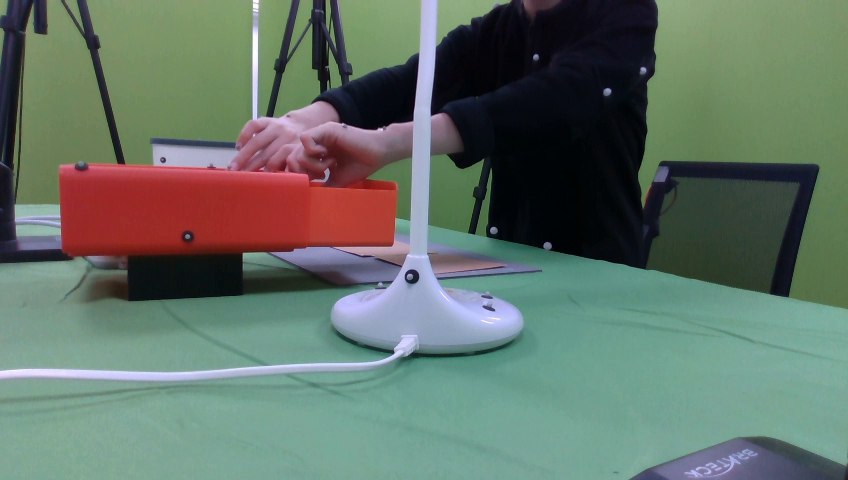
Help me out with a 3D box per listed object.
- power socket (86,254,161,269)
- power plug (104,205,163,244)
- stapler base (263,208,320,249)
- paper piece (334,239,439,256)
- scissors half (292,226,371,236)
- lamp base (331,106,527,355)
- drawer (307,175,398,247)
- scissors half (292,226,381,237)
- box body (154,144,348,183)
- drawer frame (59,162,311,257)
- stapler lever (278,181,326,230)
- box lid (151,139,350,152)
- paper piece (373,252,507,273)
[{"bbox_3d":[-0.409,0.004,0.793,0.072,0.032,0.225,-2,8,-38],"label":"power socket"},{"bbox_3d":[-0.390,-0.021,0.815,0.073,0.052,0.035,-1,7,-27],"label":"power plug"},{"bbox_3d":[-0.140,-0.021,0.667,0.041,0.024,0.130,20,13,-5],"label":"stapler base"},{"bbox_3d":[-0.068,0.011,0.937,0.136,0.004,0.134,-2,9,-34],"label":"paper piece"},{"bbox_3d":[-0.166,-0.015,1.094,0.040,0.013,0.176,2,6,39],"label":"scissors half"},{"bbox_3d":[0.006,-0.012,0.478,0.161,0.180,0.179,2,10,2],"label":"lamp base"},{"bbox_3d":[-0.161,-0.037,0.674,0.213,0.073,0.193,-1,9,-26],"label":"drawer"},{"bbox_3d":[-0.153,-0.015,1.079,0.176,0.013,0.040,-7,1,-33],"label":"scissors half"},{"bbox_3d":[-0.357,-0.119,1.264,0.365,0.160,0.253,0,7,-18],"label":"box body"},{"bbox_3d":[-0.245,-0.038,0.630,0.215,0.082,0.200,-2,8,-26],"label":"drawer frame"},{"bbox_3d":[-0.131,-0.040,0.661,0.027,0.040,0.118,20,9,-5],"label":"stapler lever"},{"bbox_3d":[-0.352,-0.191,1.255,0.373,0.015,0.262,0,8,-18],"label":"box lid"},{"bbox_3d":[0.021,0.029,0.829,0.139,0.008,0.135,-1,11,-37],"label":"paper piece"}]
